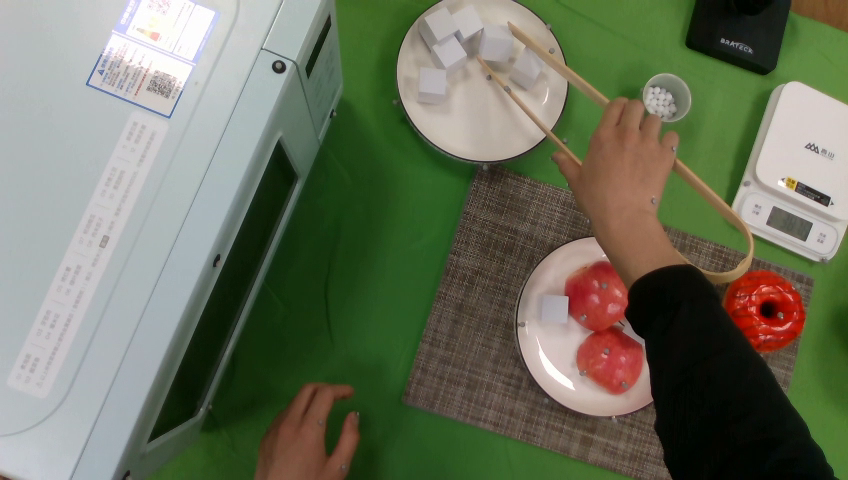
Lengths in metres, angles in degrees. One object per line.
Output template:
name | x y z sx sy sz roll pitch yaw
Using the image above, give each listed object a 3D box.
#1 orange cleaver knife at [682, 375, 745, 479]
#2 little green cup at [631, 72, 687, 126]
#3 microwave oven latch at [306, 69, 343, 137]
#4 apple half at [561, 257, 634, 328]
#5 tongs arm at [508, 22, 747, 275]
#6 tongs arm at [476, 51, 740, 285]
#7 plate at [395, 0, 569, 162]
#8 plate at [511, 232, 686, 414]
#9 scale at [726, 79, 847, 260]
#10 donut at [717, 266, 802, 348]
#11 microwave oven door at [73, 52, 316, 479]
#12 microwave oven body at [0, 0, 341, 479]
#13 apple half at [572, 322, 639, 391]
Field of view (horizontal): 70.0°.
orange cleaver knife | 0.346 0.268 0.719 0.077 0.012 0.210 1 83 -11
little green cup | 0.288 -0.172 0.750 0.061 0.038 0.061 1 84 -5
microwave oven latch | -0.118 -0.159 0.687 0.030 0.029 0.079 24 83 -3
apple half | 0.204 0.058 0.699 0.081 0.053 0.074 -26 85 -8
tongs arm | 0.195 -0.116 0.627 0.028 0.028 0.383 -37 59 5
tongs arm | 0.172 -0.096 0.632 0.051 0.027 0.381 -38 59 9
plate | 0.068 -0.192 0.729 0.208 0.039 0.207 1 84 -6
plate | 0.201 0.095 0.711 0.209 0.038 0.208 1 84 -6
scale | 0.479 -0.089 0.766 0.149 0.031 0.200 23 83 -3
donut | 0.402 0.080 0.731 0.099 0.048 0.099 0 83 -4
microwave oven door | -0.190 0.032 0.558 0.039 0.244 0.355 21 82 -3
microwave oven body | -0.310 -0.061 0.559 0.326 0.260 0.440 22 83 -4
apple half | 0.216 0.134 0.702 0.081 0.033 0.081 0 85 -2
